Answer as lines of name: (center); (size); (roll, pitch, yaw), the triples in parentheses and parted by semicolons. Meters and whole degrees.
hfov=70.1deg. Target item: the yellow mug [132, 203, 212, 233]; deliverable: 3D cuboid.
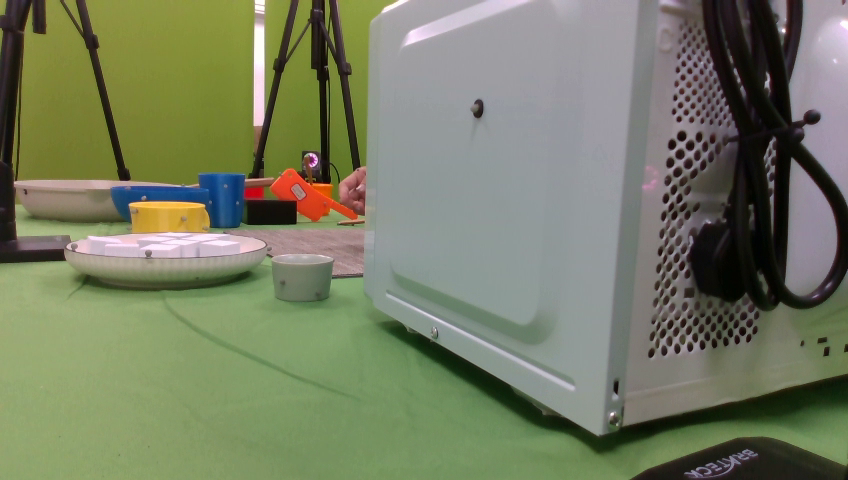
yellow mug: (-0.356, -0.020, 0.878); (0.099, 0.064, 0.131); (5, 7, 22)

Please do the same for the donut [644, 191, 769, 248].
donut: (0.240, -0.017, 0.518); (0.099, 0.048, 0.099); (2, 3, 0)

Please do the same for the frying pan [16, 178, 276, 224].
frying pan: (-0.553, -0.097, 1.266); (0.490, 0.102, 0.305); (-10, 13, -24)

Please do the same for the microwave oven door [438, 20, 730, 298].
microwave oven door: (0.181, -0.076, 0.618); (0.358, 0.243, 0.039); (-2, 8, -28)

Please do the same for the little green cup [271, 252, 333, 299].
little green cup: (-0.122, 0.035, 0.605); (0.061, 0.038, 0.061); (3, 7, 0)

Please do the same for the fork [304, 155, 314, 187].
fork: (-0.268, -0.134, 1.447); (0.028, 0.018, 0.207); (2, -36, -1)

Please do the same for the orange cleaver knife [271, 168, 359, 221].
orange cleaver knife: (-0.236, -0.084, 1.333); (0.212, 0.077, 0.012); (31, -9, -32)

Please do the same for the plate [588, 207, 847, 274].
plate: (0.245, -0.002, 0.510); (0.209, 0.038, 0.209); (2, 7, 0)

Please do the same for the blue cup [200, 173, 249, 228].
blue cup: (-0.381, -0.076, 1.155); (0.093, 0.100, 0.092); (0, 8, 0)

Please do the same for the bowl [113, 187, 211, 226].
bowl: (-0.436, -0.046, 1.013); (0.151, 0.077, 0.151); (2, 7, 0)

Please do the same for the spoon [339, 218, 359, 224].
spoon: (-0.087, -0.041, 1.268); (0.193, 0.021, 0.041); (4, 20, 13)

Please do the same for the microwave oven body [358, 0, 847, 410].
microwave oven body: (0.210, -0.051, 0.471); (0.444, 0.260, 0.324); (-1, 7, -28)

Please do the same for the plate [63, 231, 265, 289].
plate: (-0.288, 0.021, 0.687); (0.208, 0.039, 0.207); (2, 8, 0)

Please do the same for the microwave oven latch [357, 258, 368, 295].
microwave oven latch: (-0.019, 0.031, 0.530); (0.079, 0.029, 0.030); (-1, 7, -27)
